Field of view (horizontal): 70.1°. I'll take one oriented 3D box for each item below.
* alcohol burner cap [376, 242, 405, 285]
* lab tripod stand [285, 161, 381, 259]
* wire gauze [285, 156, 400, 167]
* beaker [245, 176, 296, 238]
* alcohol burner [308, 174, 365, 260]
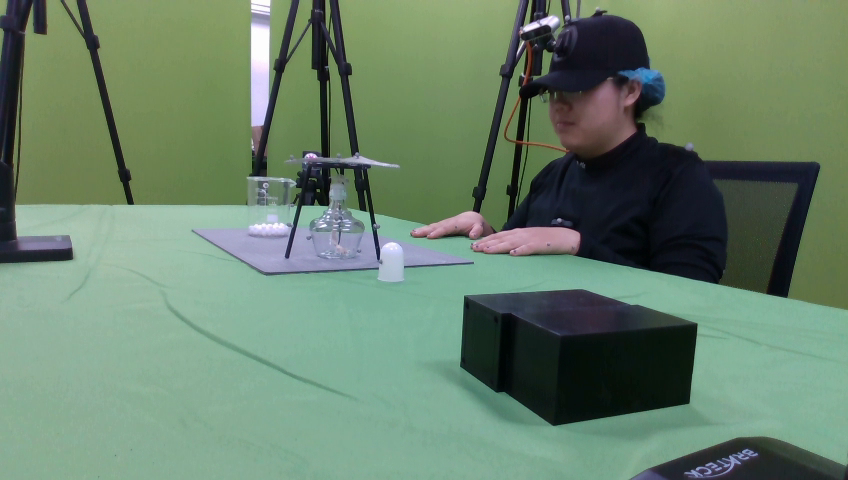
[{"bbox_3d":[-0.039,0.026,0.710,0.034,0.048,0.034,3,6,0],"label":"alcohol burner cap"},{"bbox_3d":[-0.122,-0.043,0.842,0.148,0.131,0.148,3,9,0],"label":"lab tripod stand"},{"bbox_3d":[-0.115,-0.109,0.835,0.126,0.011,0.121,-3,10,-30],"label":"wire gauze"},{"bbox_3d":[-0.263,-0.057,1.034,0.084,0.100,0.074,1,8,-17],"label":"beaker"},{"bbox_3d":[-0.121,-0.033,0.843,0.078,0.119,0.078,3,5,0],"label":"alcohol burner"}]
